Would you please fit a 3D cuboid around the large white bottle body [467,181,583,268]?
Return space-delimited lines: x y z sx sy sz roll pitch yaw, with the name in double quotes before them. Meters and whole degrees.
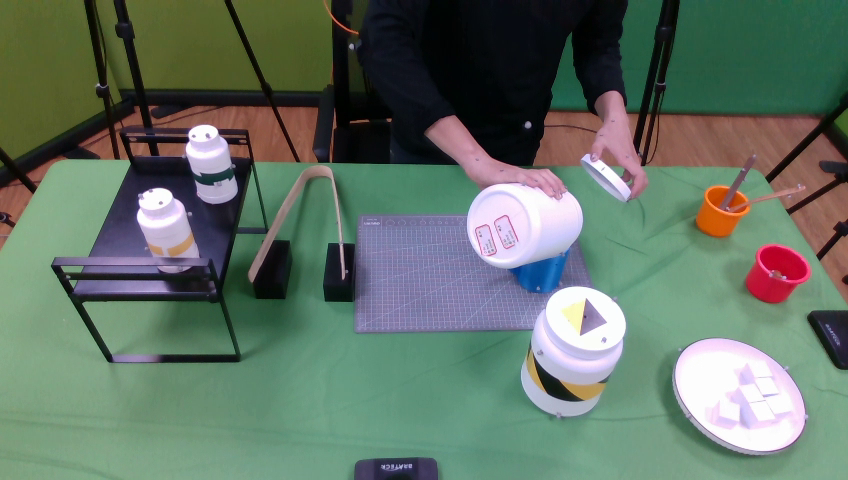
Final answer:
"large white bottle body" 0.171 -0.029 0.983 0.130 0.131 0.185 39 28 28

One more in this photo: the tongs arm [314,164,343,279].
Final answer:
"tongs arm" -0.188 -0.049 1.170 0.051 0.026 0.382 -6 35 -6

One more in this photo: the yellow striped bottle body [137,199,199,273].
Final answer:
"yellow striped bottle body" -0.366 -0.014 0.863 0.063 0.121 0.062 2 46 -2

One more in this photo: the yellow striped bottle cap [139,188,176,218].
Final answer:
"yellow striped bottle cap" -0.363 -0.050 0.826 0.044 0.019 0.044 0 47 0

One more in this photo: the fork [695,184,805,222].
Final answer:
"fork" 0.657 -0.075 1.230 0.207 0.019 0.028 -23 34 37

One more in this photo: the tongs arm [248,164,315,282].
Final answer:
"tongs arm" -0.270 -0.047 1.165 0.028 0.028 0.385 -1 34 7

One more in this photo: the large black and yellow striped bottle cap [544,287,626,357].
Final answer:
"large black and yellow striped bottle cap" 0.232 0.116 0.876 0.115 0.019 0.114 2 46 -1

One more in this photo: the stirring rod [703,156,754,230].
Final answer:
"stirring rod" 0.631 -0.097 1.258 0.014 0.006 0.176 33 95 28

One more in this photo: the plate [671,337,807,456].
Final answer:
"plate" 0.504 0.253 0.984 0.208 0.039 0.206 2 46 -2

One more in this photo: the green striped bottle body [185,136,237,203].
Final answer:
"green striped bottle body" -0.341 -0.121 0.968 0.063 0.120 0.063 2 46 -2

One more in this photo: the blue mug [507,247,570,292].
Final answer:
"blue mug" 0.203 0.031 1.121 0.116 0.106 0.082 5 47 1

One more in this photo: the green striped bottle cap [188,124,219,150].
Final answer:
"green striped bottle cap" -0.339 -0.158 0.931 0.044 0.020 0.044 3 47 -3

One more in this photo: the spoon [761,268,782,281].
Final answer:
"spoon" 0.638 0.060 1.105 0.041 0.021 0.194 38 11 24

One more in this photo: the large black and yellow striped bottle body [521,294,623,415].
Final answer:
"large black and yellow striped bottle body" 0.228 0.173 0.938 0.131 0.185 0.130 2 47 -2

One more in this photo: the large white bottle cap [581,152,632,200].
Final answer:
"large white bottle cap" 0.339 -0.120 1.127 0.018 0.115 0.114 -46 54 11
